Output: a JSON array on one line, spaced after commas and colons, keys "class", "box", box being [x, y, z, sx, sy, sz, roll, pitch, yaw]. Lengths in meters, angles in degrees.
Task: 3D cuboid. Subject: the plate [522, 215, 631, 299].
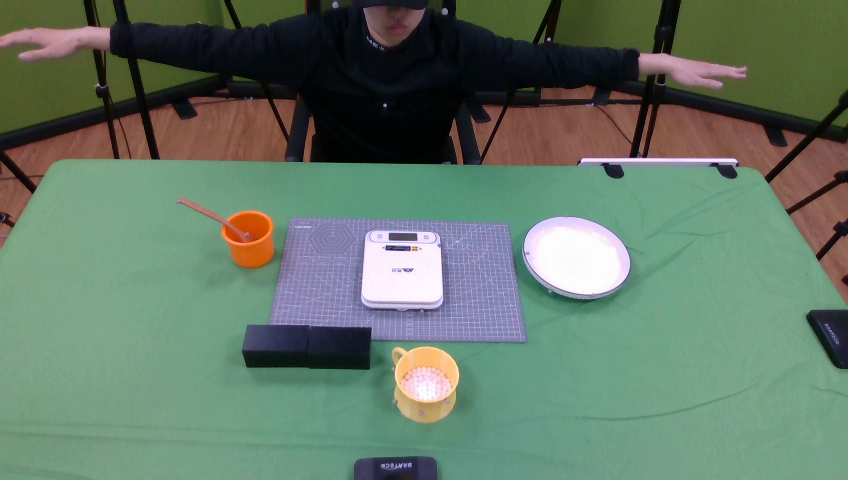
[{"class": "plate", "box": [0.292, 0.035, 1.175, 0.209, 0.038, 0.208, 2, 46, -2]}]

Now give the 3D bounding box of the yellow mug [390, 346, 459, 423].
[{"class": "yellow mug", "box": [-0.009, 0.217, 0.958, 0.100, 0.064, 0.130, -33, 56, -31]}]

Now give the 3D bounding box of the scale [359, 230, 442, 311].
[{"class": "scale", "box": [-0.043, 0.048, 1.138, 0.149, 0.032, 0.199, 2, 46, -3]}]

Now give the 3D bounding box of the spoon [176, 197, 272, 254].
[{"class": "spoon", "box": [-0.362, -0.028, 1.108, 0.021, 0.195, 0.041, -35, 36, 24]}]
